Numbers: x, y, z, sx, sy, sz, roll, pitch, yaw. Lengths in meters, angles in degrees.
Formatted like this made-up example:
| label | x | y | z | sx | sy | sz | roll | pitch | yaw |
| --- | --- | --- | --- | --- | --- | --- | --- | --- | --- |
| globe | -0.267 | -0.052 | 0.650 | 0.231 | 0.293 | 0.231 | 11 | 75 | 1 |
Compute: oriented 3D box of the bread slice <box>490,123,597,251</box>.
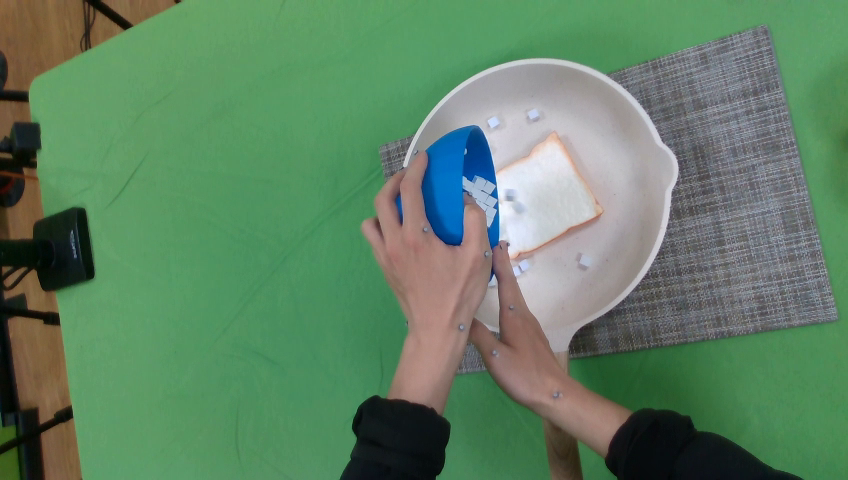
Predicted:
| label | x | y | z | sx | sy | sz | roll | pitch | yaw |
| --- | --- | --- | --- | --- | --- | --- | --- | --- | --- |
| bread slice | 0.114 | -0.049 | 0.688 | 0.134 | 0.018 | 0.106 | -35 | 77 | 17 |

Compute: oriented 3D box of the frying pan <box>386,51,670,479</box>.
| label | x | y | z | sx | sy | sz | roll | pitch | yaw |
| --- | --- | --- | --- | --- | --- | --- | --- | --- | --- |
| frying pan | 0.117 | 0.049 | 0.644 | 0.306 | 0.103 | 0.485 | -10 | 77 | 23 |

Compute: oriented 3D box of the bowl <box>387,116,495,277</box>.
| label | x | y | z | sx | sy | sz | roll | pitch | yaw |
| --- | --- | --- | --- | --- | --- | --- | --- | --- | --- |
| bowl | 0.015 | -0.038 | 0.577 | 0.076 | 0.152 | 0.151 | -3 | 88 | 18 |
